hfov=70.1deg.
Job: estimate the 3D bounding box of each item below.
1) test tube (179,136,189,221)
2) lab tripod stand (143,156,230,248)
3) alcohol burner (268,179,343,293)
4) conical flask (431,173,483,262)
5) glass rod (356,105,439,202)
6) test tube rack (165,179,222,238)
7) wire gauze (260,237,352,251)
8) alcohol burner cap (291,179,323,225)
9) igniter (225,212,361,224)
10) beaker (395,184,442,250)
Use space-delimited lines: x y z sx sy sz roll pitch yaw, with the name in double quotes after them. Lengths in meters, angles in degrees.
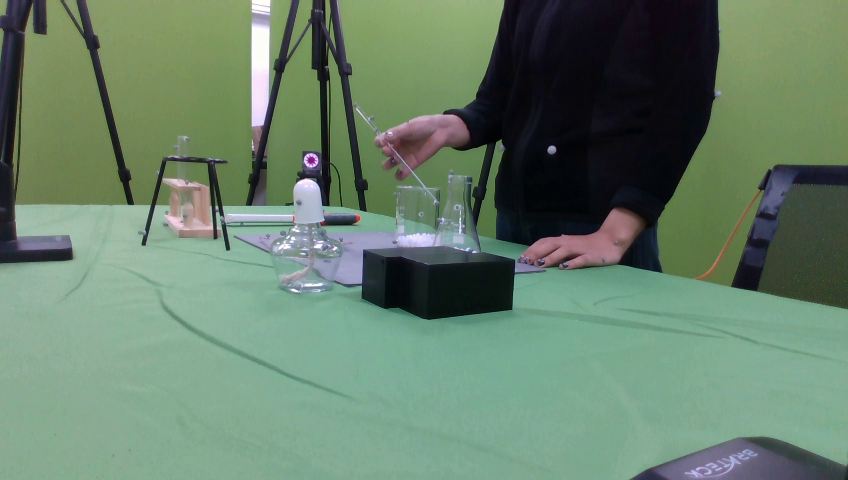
-0.425 -0.108 1.070 0.017 0.150 0.017 4 9 0 "test tube"
-0.338 -0.058 0.908 0.148 0.131 0.148 4 7 0 "lab tripod stand"
-0.124 -0.005 0.637 0.078 0.119 0.078 4 8 0 "alcohol burner"
0.049 -0.033 0.857 0.075 0.122 0.075 2 7 0 "conical flask"
-0.042 -0.137 0.955 0.008 0.199 0.008 -41 -1 -1 "glass rod"
-0.423 -0.062 1.098 0.067 0.085 0.241 -2 9 -28 "test tube rack"
-0.184 0.004 0.938 0.122 0.011 0.124 -1 5 -24 "wire gauze"
-0.124 -0.040 0.632 0.034 0.048 0.034 -3 10 1 "alcohol burner cap"
-0.262 -0.044 1.240 0.278 0.025 0.057 -2 -1 -31 "igniter"
-0.009 -0.038 0.968 0.074 0.100 0.084 6 8 21 "beaker"
